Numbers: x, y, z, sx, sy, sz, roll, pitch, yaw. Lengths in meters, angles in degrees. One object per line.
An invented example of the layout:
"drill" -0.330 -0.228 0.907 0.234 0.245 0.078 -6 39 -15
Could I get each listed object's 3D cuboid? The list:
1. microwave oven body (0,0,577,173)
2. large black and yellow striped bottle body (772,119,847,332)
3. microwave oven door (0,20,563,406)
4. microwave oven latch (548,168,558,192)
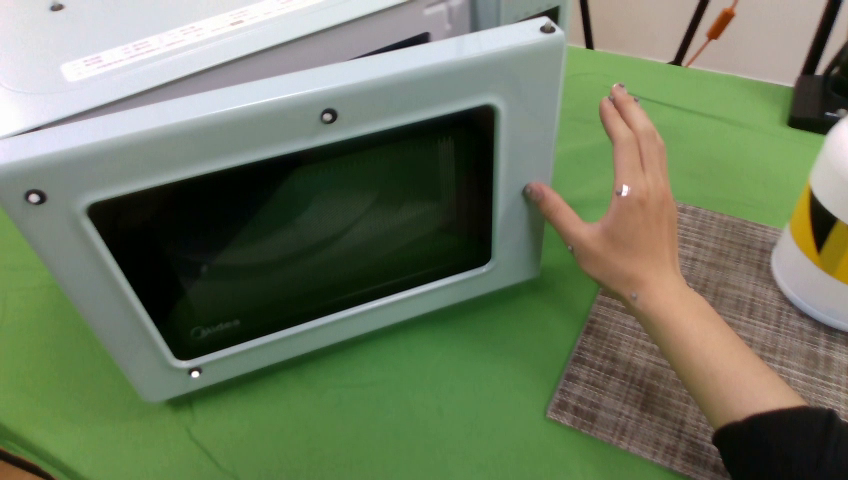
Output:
"microwave oven body" -0.134 -0.128 0.586 0.442 0.263 0.322 -28 49 -21
"large black and yellow striped bottle body" 0.382 -0.024 0.492 0.131 0.186 0.129 -2 44 3
"microwave oven door" -0.069 -0.009 0.453 0.356 0.246 0.039 -17 45 -12
"microwave oven latch" 0.102 -0.053 0.630 0.079 0.030 0.030 -26 49 -20
